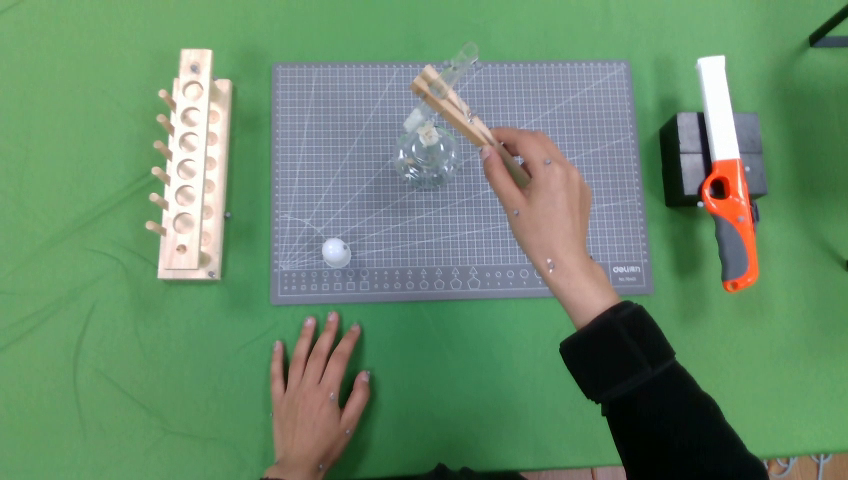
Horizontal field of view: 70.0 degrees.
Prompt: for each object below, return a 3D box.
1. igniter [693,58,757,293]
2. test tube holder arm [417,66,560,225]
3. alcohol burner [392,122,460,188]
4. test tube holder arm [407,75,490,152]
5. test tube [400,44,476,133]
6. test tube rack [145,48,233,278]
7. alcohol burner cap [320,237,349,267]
[{"bbox_3d":[0.343,-0.077,0.694,0.057,0.025,0.275,-4,79,8],"label":"igniter"},{"bbox_3d":[0.058,-0.081,0.532,0.179,0.015,0.013,46,66,-7],"label":"test tube holder arm"},{"bbox_3d":[0.003,-0.100,0.680,0.078,0.119,0.077,0,80,-2],"label":"alcohol burner"},{"bbox_3d":[0.022,-0.108,0.523,0.088,0.015,0.010,38,66,-10],"label":"test tube holder arm"},{"bbox_3d":[0.008,-0.126,0.524,0.017,0.150,0.017,5,76,-20],"label":"test tube"},{"bbox_3d":[-0.266,-0.083,0.678,0.067,0.085,0.241,1,79,-3],"label":"test tube rack"},{"bbox_3d":[-0.104,0.011,0.688,0.034,0.048,0.033,1,79,-4],"label":"alcohol burner cap"}]
